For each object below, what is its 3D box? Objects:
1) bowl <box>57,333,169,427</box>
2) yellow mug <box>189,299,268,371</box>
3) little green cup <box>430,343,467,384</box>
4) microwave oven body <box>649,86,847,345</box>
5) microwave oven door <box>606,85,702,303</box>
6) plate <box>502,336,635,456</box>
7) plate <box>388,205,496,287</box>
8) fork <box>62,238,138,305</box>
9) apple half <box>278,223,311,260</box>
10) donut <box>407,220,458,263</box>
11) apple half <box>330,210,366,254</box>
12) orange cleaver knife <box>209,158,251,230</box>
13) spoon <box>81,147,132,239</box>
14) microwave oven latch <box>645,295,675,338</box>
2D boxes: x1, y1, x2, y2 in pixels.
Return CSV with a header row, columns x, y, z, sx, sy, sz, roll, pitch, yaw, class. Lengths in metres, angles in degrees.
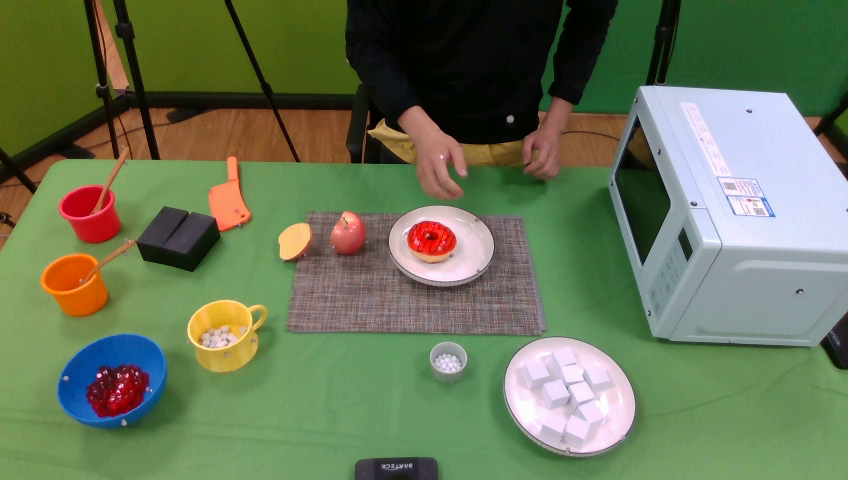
x,y,z,sx,sy,sz,roll,pitch,yaw,class
-0.456,0.223,0.912,0.151,0.077,0.150,3,45,-2,bowl
-0.316,0.148,1.002,0.131,0.064,0.099,-32,56,-31,yellow mug
0.039,0.203,0.994,0.061,0.039,0.061,2,46,-2,little green cup
0.568,-0.053,1.118,0.326,0.261,0.439,2,45,-1,microwave oven body
0.423,-0.094,1.140,0.039,0.245,0.353,2,46,-1,microwave oven door
0.225,0.248,0.964,0.208,0.039,0.206,2,46,-2,plate
0.033,0.014,1.171,0.209,0.038,0.208,2,46,-2,plate
-0.547,0.053,1.018,0.207,0.019,0.028,-36,41,23,fork
-0.241,0.007,1.157,0.081,0.033,0.081,-17,54,24,apple half
0.016,0.002,1.166,0.099,0.048,0.098,3,44,-2,donut
-0.139,-0.009,1.157,0.053,0.075,0.080,17,44,8,apple half
-0.409,-0.099,1.266,0.077,0.012,0.210,-14,49,-10,orange cleaver knife
-0.603,-0.089,1.156,0.041,0.022,0.193,27,95,19,spoon
0.412,0.134,1.061,0.030,0.029,0.078,3,45,0,microwave oven latch
